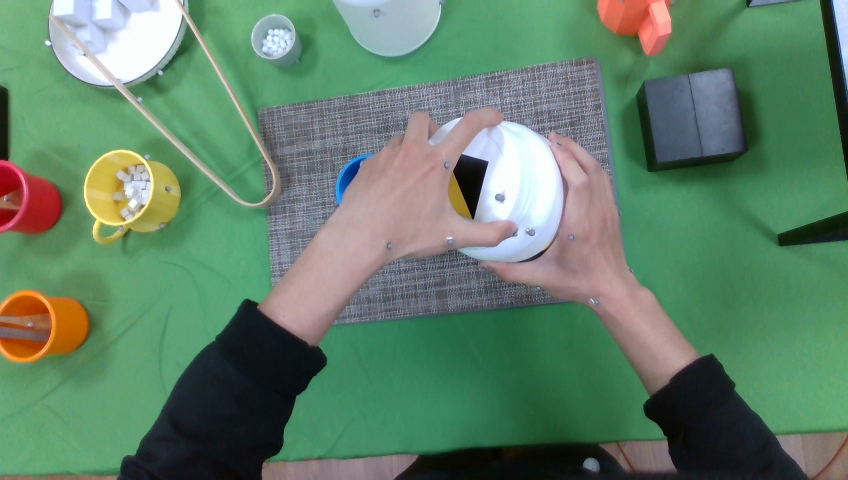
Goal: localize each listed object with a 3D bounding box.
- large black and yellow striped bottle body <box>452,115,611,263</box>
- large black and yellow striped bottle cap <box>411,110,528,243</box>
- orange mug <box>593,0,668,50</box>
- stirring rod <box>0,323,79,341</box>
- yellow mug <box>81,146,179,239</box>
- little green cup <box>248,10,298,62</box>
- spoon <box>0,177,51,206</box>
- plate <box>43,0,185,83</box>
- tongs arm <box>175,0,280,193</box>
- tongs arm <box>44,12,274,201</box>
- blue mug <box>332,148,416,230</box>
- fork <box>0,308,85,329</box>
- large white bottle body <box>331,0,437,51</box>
[{"bbox_3d":[0.089,-0.047,0.593,0.130,0.185,0.130,-4,83,38],"label":"large black and yellow striped bottle body"},{"bbox_3d":[0.036,-0.054,0.525,0.114,0.019,0.114,-5,83,39],"label":"large black and yellow striped bottle cap"},{"bbox_3d":[0.257,-0.296,0.720,0.083,0.101,0.125,-17,78,7],"label":"orange mug"},{"bbox_3d":[-0.541,0.112,0.772,0.006,0.177,0.014,-23,60,49],"label":"stirring rod"},{"bbox_3d":[-0.399,-0.056,0.808,0.099,0.064,0.131,32,91,10],"label":"yellow mug"},{"bbox_3d":[-0.200,-0.271,0.813,0.061,0.039,0.061,-1,86,8],"label":"little green cup"},{"bbox_3d":[-0.597,-0.044,0.795,0.194,0.022,0.041,-24,77,-40],"label":"spoon"},{"bbox_3d":[-0.428,-0.318,0.850,0.207,0.039,0.207,-1,85,8],"label":"plate"},{"bbox_3d":[-0.288,-0.236,0.807,0.028,0.028,0.387,-30,88,-4],"label":"tongs arm"},{"bbox_3d":[-0.353,-0.182,0.807,0.051,0.026,0.384,-45,88,-2],"label":"tongs arm"},{"bbox_3d":[-0.042,-0.054,0.733,0.116,0.106,0.082,19,87,10],"label":"blue mug"},{"bbox_3d":[-0.551,0.095,0.772,0.209,0.018,0.028,11,83,-35],"label":"fork"},{"bbox_3d":[-0.059,-0.323,0.724,0.130,0.185,0.130,-1,84,9],"label":"large white bottle body"}]
